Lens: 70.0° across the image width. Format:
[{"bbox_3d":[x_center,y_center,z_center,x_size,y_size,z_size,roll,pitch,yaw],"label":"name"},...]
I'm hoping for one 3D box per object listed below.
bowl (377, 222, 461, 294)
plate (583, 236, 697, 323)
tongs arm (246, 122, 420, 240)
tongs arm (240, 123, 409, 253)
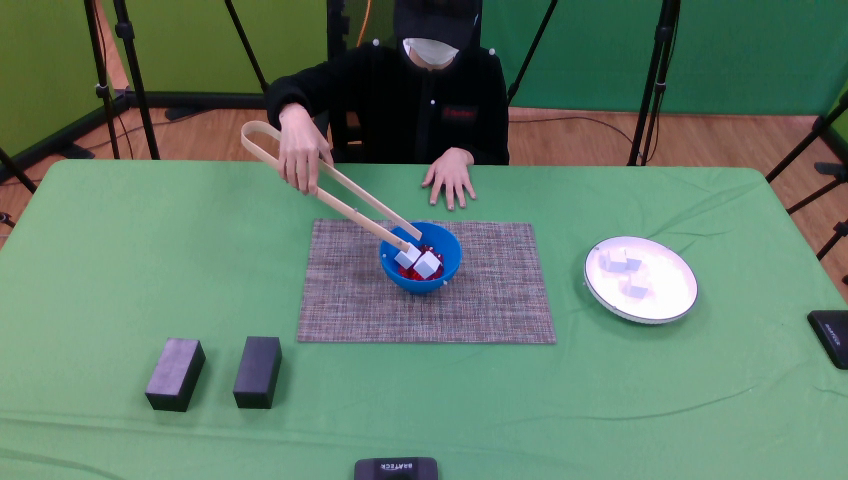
[{"bbox_3d":[-0.011,0.046,1.109,0.151,0.077,0.150,2,46,-2],"label":"bowl"},{"bbox_3d":[0.403,0.078,1.144,0.209,0.038,0.208,2,45,-2],"label":"plate"},{"bbox_3d":[-0.168,-0.112,1.113,0.387,0.028,0.028,34,57,8],"label":"tongs arm"},{"bbox_3d":[-0.182,-0.096,1.097,0.384,0.026,0.050,31,53,6],"label":"tongs arm"}]
